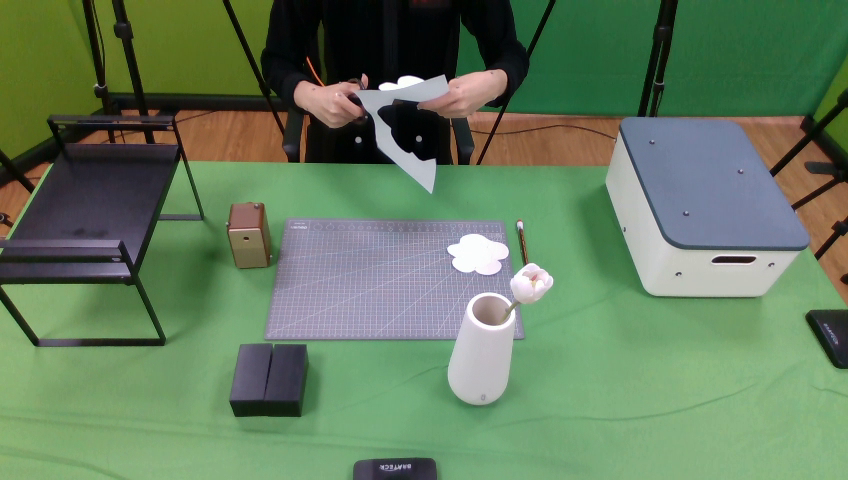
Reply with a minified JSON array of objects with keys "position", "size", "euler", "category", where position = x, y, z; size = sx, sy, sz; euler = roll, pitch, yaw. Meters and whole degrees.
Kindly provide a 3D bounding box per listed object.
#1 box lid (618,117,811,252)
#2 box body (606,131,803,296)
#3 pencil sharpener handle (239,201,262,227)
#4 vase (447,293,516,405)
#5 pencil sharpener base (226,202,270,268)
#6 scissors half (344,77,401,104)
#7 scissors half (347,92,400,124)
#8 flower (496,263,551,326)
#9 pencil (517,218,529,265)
[{"position":[0.534,-0.117,1.149],"size":[0.263,0.015,0.369],"euler":[0,47,-3],"category":"box lid"},{"position":[0.530,-0.067,1.204],"size":[0.254,0.161,0.361],"euler":[1,46,-4],"category":"box body"},{"position":[-0.325,-0.056,1.150],"size":[0.036,0.068,0.030],"euler":[-13,46,3],"category":"pencil sharpener handle"},{"position":[0.091,0.169,0.921],"size":[0.098,0.201,0.097],"euler":[3,47,-3],"category":"vase"},{"position":[-0.323,-0.010,1.123],"size":[0.061,0.107,0.076],"euler":[-3,46,-7],"category":"pencil sharpener base"},{"position":[-0.094,-0.263,1.085],"size":[0.013,0.040,0.174],"euler":[-20,32,-34],"category":"scissors half"},{"position":[-0.092,-0.241,1.090],"size":[0.013,0.175,0.040],"euler":[-14,93,-35],"category":"scissors half"},{"position":[0.102,0.120,0.853],"size":[0.044,0.363,0.038],"euler":[-2,64,-10],"category":"flower"},{"position":[0.200,0.027,1.196],"size":[0.012,0.012,0.193],"euler":[1,48,-3],"category":"pencil"}]
